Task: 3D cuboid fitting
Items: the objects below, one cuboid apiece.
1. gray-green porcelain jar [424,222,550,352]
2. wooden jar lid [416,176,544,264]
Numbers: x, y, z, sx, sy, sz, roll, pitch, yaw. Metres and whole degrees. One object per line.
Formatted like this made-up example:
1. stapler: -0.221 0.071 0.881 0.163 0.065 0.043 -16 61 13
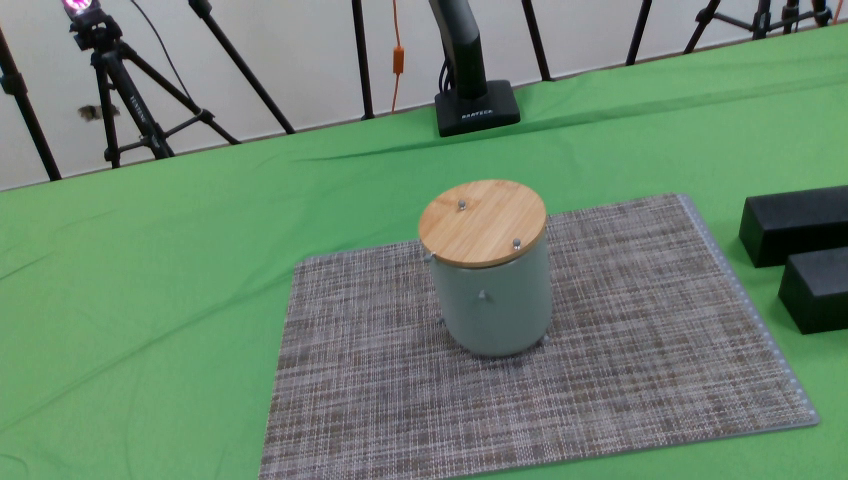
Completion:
1. gray-green porcelain jar: 0.060 0.032 0.554 0.106 0.128 0.105 -8 41 8
2. wooden jar lid: 0.047 -0.015 0.512 0.108 0.021 0.107 -8 42 8
